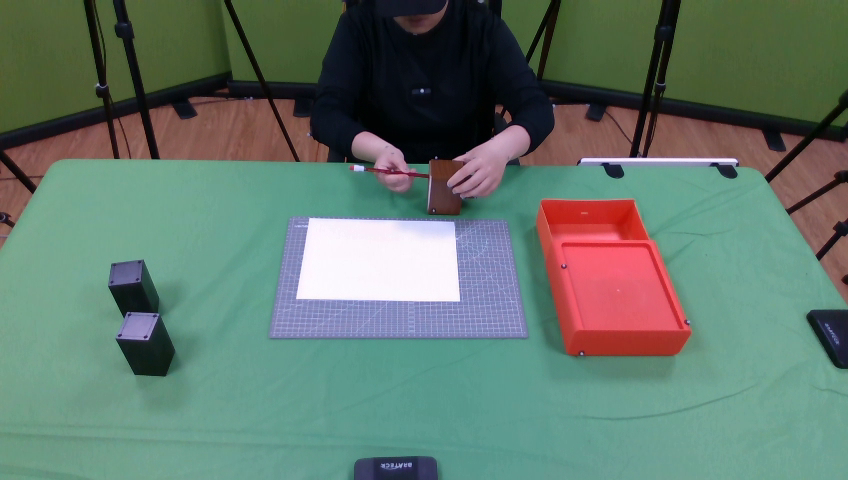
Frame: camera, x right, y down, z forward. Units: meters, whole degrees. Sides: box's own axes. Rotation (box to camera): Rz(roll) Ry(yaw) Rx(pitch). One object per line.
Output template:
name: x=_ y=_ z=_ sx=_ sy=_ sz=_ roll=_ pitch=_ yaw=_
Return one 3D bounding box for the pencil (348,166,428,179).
pencil: x=-0.056 y=-0.133 z=1.216 sx=0.194 sy=0.012 sz=0.012 roll=6 pitch=45 yaw=-7

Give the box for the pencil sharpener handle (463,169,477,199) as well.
pencil sharpener handle: x=0.096 y=-0.112 z=1.238 sx=0.031 sy=0.068 sz=0.036 roll=2 pitch=39 yaw=-3

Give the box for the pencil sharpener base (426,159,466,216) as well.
pencil sharpener base: x=0.044 y=-0.106 z=1.246 sx=0.077 sy=0.107 sz=0.061 roll=2 pitch=45 yaw=-3

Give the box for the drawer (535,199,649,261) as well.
drawer: x=0.332 y=0.015 z=1.169 sx=0.195 sy=0.073 sz=0.210 roll=0 pitch=46 yaw=-5

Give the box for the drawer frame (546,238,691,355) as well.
drawer frame: x=0.338 y=0.097 z=1.086 sx=0.202 sy=0.083 sz=0.212 roll=0 pitch=46 yaw=-4
